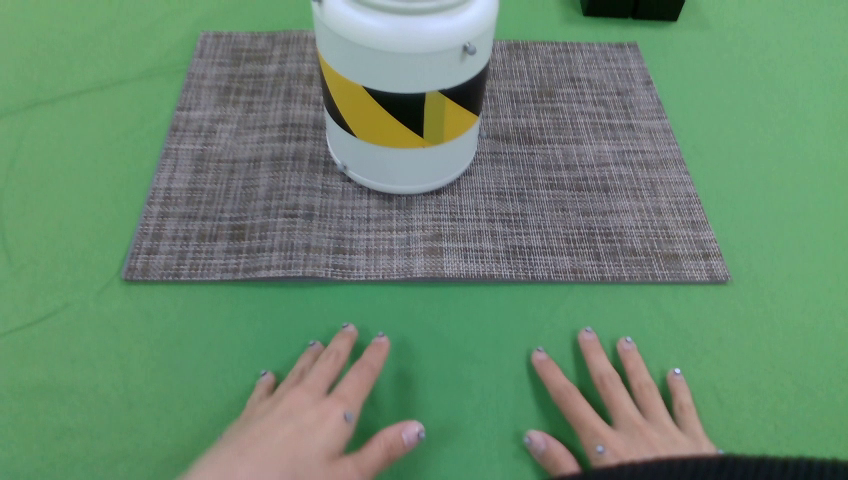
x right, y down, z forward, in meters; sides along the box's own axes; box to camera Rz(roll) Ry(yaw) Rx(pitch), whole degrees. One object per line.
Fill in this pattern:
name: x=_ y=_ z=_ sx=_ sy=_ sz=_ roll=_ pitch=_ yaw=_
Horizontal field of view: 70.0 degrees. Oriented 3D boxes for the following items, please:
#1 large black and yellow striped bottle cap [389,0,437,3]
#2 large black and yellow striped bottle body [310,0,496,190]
large black and yellow striped bottle cap: x=-0.011 y=-0.194 z=0.391 sx=0.115 sy=0.019 sz=0.114 roll=2 pitch=54 yaw=-2
large black and yellow striped bottle body: x=-0.016 y=-0.143 z=0.457 sx=0.131 sy=0.185 sz=0.129 roll=2 pitch=53 yaw=-3
